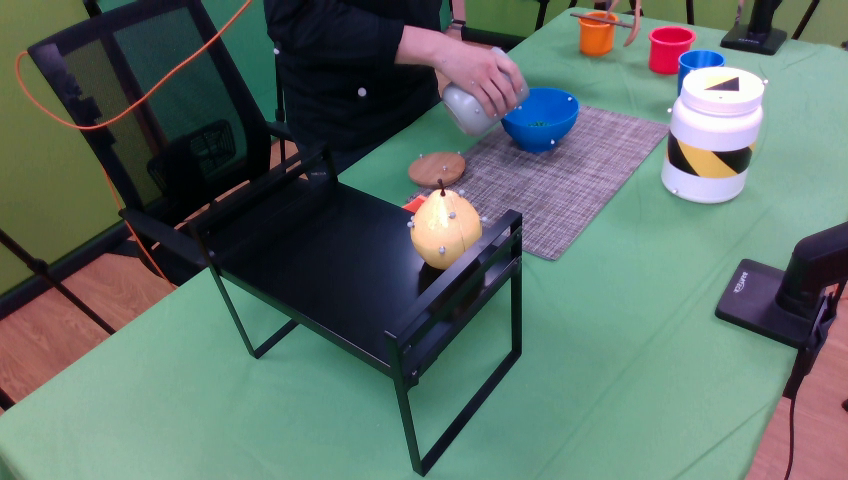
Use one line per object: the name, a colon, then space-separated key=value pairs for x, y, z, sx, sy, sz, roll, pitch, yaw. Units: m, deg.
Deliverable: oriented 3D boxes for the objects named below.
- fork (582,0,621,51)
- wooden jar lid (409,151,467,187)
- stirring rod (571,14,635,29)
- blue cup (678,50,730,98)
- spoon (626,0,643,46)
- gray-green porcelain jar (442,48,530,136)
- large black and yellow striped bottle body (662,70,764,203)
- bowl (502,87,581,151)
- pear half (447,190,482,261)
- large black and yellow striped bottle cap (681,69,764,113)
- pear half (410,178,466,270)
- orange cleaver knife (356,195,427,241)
fork: x=0.446 y=-0.539 z=1.438 sx=0.207 sy=0.019 sz=0.028 roll=-57 pitch=35 yaw=12
wooden jar lid: x=0.026 y=-0.131 z=1.124 sx=0.108 sy=0.021 sz=0.108 roll=-8 pitch=36 yaw=6
stirring rod: x=0.419 y=-0.508 z=1.404 sx=0.174 sy=0.006 sz=0.014 roll=28 pitch=55 yaw=35
blue cup: x=0.542 y=-0.310 z=1.194 sx=0.092 sy=0.101 sz=0.092 roll=-6 pitch=41 yaw=6
spoon: x=0.435 y=-0.484 z=1.200 sx=0.021 sy=0.194 sz=0.041 roll=10 pitch=21 yaw=5
gray-green porcelain jar: x=0.104 y=-0.254 z=1.057 sx=0.126 sy=0.107 sz=0.105 roll=-38 pitch=44 yaw=2
large black and yellow striped bottle body: x=0.464 y=-0.167 z=0.976 sx=0.131 sy=0.185 sz=0.130 roll=-5 pitch=41 yaw=5
bowl: x=0.220 y=-0.223 z=1.156 sx=0.151 sy=0.077 sz=0.150 roll=-4 pitch=41 yaw=4
pear half: x=0.046 y=-0.020 z=0.664 sx=0.031 sy=0.088 sz=0.070 roll=-17 pitch=38 yaw=-9
large black and yellow striped bottle cap: x=0.453 y=-0.229 z=0.921 sx=0.115 sy=0.019 sz=0.114 roll=-4 pitch=39 yaw=4
pear half: x=0.011 y=-0.019 z=0.654 sx=0.056 sy=0.110 sz=0.076 roll=-16 pitch=37 yaw=-9
orange cleaver knife: x=-0.037 y=-0.029 z=0.973 sx=0.210 sy=0.077 sz=0.012 roll=-8 pitch=33 yaw=50
